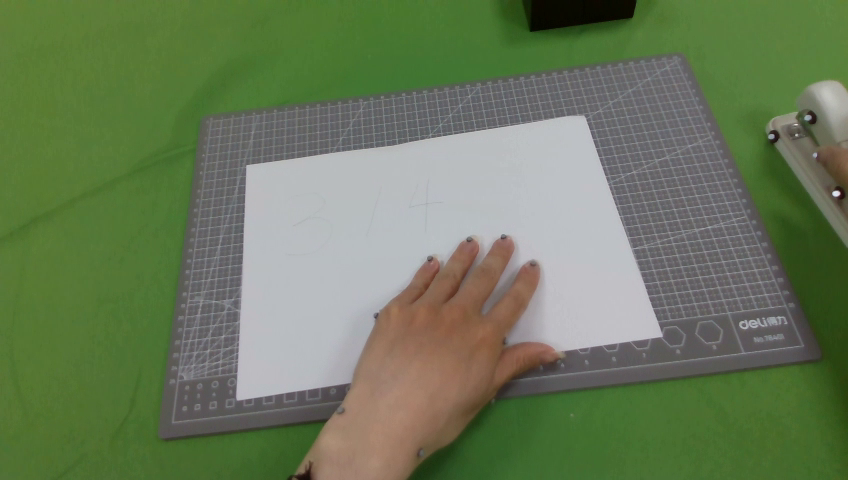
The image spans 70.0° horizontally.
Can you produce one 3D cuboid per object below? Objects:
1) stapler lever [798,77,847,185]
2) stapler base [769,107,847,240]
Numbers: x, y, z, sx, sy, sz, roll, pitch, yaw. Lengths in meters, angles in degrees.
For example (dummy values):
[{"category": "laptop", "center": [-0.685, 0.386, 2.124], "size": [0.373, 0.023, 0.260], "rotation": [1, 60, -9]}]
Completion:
[{"category": "stapler lever", "center": [0.313, -0.069, 0.441], "size": [0.027, 0.040, 0.117], "rotation": [-16, 60, 1]}, {"category": "stapler base", "center": [0.316, -0.057, 0.464], "size": [0.041, 0.024, 0.129], "rotation": [-16, 60, 1]}]
